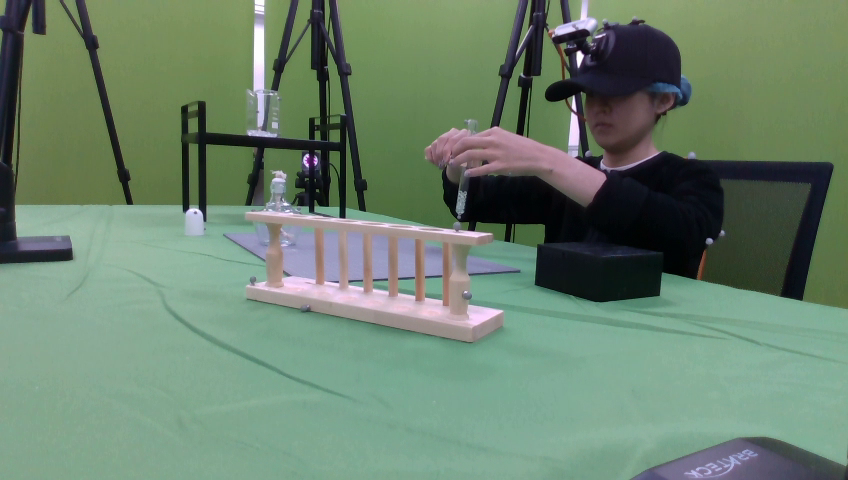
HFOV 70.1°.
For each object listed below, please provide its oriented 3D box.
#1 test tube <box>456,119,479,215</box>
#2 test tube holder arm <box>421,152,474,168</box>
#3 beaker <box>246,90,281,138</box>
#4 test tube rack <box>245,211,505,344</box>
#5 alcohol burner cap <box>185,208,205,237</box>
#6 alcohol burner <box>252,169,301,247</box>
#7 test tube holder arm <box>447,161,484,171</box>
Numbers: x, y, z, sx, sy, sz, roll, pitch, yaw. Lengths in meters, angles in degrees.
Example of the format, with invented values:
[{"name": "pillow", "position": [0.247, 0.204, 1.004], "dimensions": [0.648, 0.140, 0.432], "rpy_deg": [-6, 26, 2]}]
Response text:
[{"name": "test tube", "position": [0.068, -0.113, 0.947], "dimensions": [0.017, 0.150, 0.017], "rpy_deg": [8, 7, -1]}, {"name": "test tube holder arm", "position": [0.036, -0.134, 1.004], "dimensions": [0.013, 0.015, 0.177], "rpy_deg": [14, 5, -28]}, {"name": "beaker", "position": [-0.354, -0.275, 1.322], "dimensions": [0.074, 0.100, 0.084], "rpy_deg": [4, 8, 12]}, {"name": "test tube rack", "position": [-0.049, 0.025, 0.547], "dimensions": [0.241, 0.085, 0.067], "rpy_deg": [7, 8, 29]}, {"name": "alcohol burner cap", "position": [-0.391, -0.031, 1.032], "dimensions": [0.034, 0.048, 0.034], "rpy_deg": [3, 8, 0]}, {"name": "alcohol burner", "position": [-0.228, -0.050, 0.937], "dimensions": [0.078, 0.119, 0.078], "rpy_deg": [1, 7, 0]}, {"name": "test tube holder arm", "position": [0.062, -0.124, 0.970], "dimensions": [0.010, 0.015, 0.087], "rpy_deg": [11, 6, -40]}]
